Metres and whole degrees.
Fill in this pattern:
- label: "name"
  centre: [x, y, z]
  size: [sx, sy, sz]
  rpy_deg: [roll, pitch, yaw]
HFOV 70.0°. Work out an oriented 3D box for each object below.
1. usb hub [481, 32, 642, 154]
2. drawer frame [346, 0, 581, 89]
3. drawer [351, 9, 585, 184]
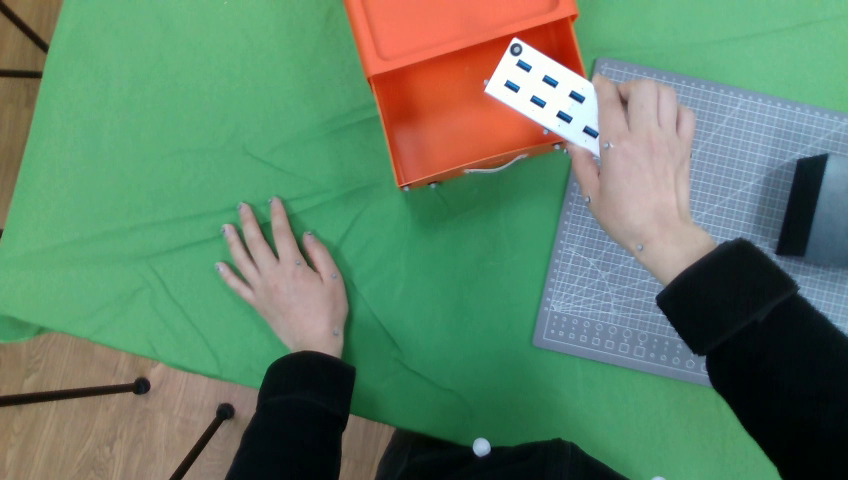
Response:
- label: "usb hub"
  centre: [0.113, -0.122, 0.503]
  size: [0.125, 0.025, 0.049]
  rpy_deg: [28, 109, 1]
- label: "drawer frame"
  centre: [0.015, -0.275, 0.566]
  size: [0.202, 0.083, 0.213]
  rpy_deg: [-17, 91, 1]
- label: "drawer"
  centre: [0.042, -0.176, 0.574]
  size: [0.194, 0.073, 0.211]
  rpy_deg: [-15, 91, 0]
